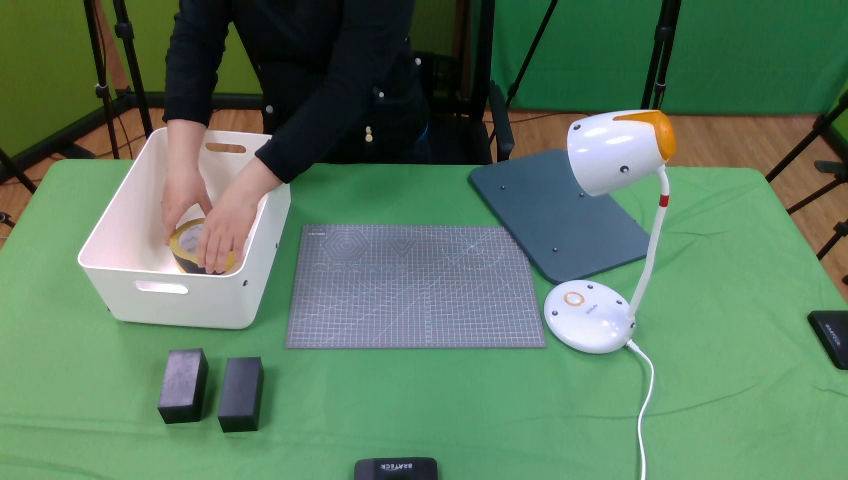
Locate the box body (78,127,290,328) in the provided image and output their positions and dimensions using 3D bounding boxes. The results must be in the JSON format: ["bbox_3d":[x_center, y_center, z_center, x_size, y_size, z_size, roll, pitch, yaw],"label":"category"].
[{"bbox_3d":[-0.400,-0.026,1.095,0.254,0.161,0.362,4,46,0],"label":"box body"}]

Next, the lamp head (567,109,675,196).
[{"bbox_3d":[0.272,-0.123,0.818,0.122,0.113,0.112,-9,35,37],"label":"lamp head"}]

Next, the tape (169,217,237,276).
[{"bbox_3d":[-0.408,0.014,1.123,0.117,0.053,0.116,2,46,-2],"label":"tape"}]

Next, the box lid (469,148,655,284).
[{"bbox_3d":[0.285,-0.064,1.289,0.263,0.015,0.369,-17,49,-19],"label":"box lid"}]

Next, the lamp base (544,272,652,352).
[{"bbox_3d":[0.310,0.086,1.029,0.178,0.181,0.160,32,52,21],"label":"lamp base"}]
